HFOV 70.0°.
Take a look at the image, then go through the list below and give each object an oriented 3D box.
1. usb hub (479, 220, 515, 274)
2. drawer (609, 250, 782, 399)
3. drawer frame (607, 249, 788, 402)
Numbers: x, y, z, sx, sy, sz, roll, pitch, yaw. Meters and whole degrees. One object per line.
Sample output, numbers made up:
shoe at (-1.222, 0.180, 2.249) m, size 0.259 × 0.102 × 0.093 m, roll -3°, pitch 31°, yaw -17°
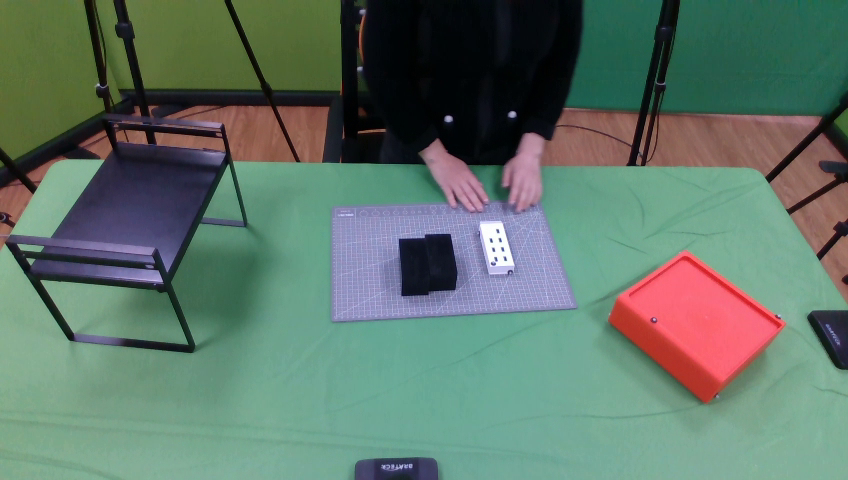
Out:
usb hub at (0.141, 0.013, 1.188) m, size 0.049 × 0.025 × 0.124 m, roll -3°, pitch 46°, yaw -6°
drawer at (0.469, 0.140, 1.056) m, size 0.194 × 0.073 × 0.210 m, roll -28°, pitch 55°, yaw -27°
drawer frame at (0.470, 0.139, 1.052) m, size 0.202 × 0.083 × 0.212 m, roll -28°, pitch 55°, yaw -28°
